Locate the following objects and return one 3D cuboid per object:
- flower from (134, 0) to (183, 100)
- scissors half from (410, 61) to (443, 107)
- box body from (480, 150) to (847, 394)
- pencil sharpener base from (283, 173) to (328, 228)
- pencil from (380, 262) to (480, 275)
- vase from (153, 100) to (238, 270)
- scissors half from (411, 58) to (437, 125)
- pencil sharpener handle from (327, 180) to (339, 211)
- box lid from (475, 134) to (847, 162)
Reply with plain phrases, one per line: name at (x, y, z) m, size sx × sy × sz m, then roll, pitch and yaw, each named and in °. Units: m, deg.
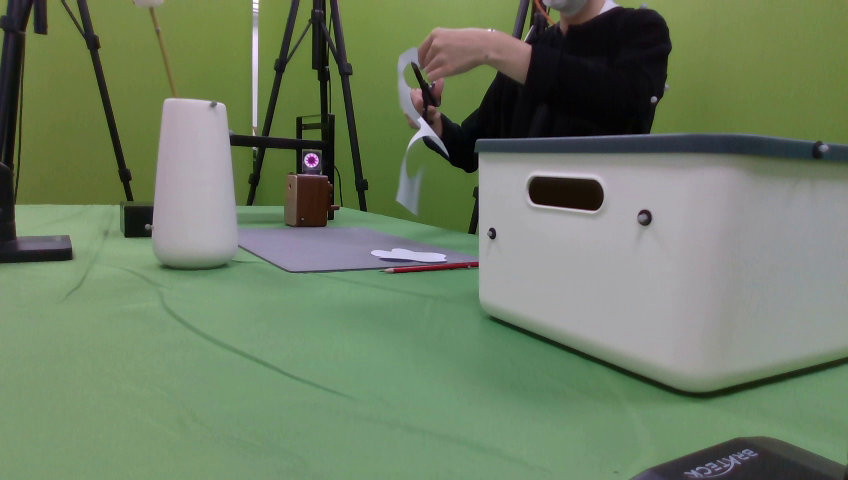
flower at (-0.282, -0.147, 0.713) m, size 0.038 × 0.362 × 0.044 m, roll -23°, pitch 24°, yaw -31°
scissors half at (0.004, -0.283, 1.090) m, size 0.013 × 0.040 × 0.176 m, roll 10°, pitch -4°, yaw 19°
box body at (0.254, 0.001, 0.539) m, size 0.366 × 0.160 × 0.253 m, roll -2°, pitch 9°, yaw -31°
pencil sharpener base at (-0.239, -0.081, 1.231) m, size 0.077 × 0.107 × 0.061 m, roll -2°, pitch 8°, yaw -36°
pencil at (0.030, 0.036, 0.795) m, size 0.195 × 0.012 × 0.012 m, roll -3°, pitch 9°, yaw -30°
vase at (-0.278, -0.066, 0.736) m, size 0.098 × 0.200 × 0.098 m, roll 2°, pitch 9°, yaw 0°
scissors half at (-0.002, -0.264, 1.085) m, size 0.012 × 0.040 × 0.176 m, roll 15°, pitch -24°, yaw 21°
pencil sharpener handle at (-0.194, -0.094, 1.256) m, size 0.031 × 0.067 × 0.036 m, roll -2°, pitch -6°, yaw -36°
box lid at (0.256, -0.073, 0.528) m, size 0.373 × 0.015 × 0.262 m, roll -2°, pitch 8°, yaw -31°
